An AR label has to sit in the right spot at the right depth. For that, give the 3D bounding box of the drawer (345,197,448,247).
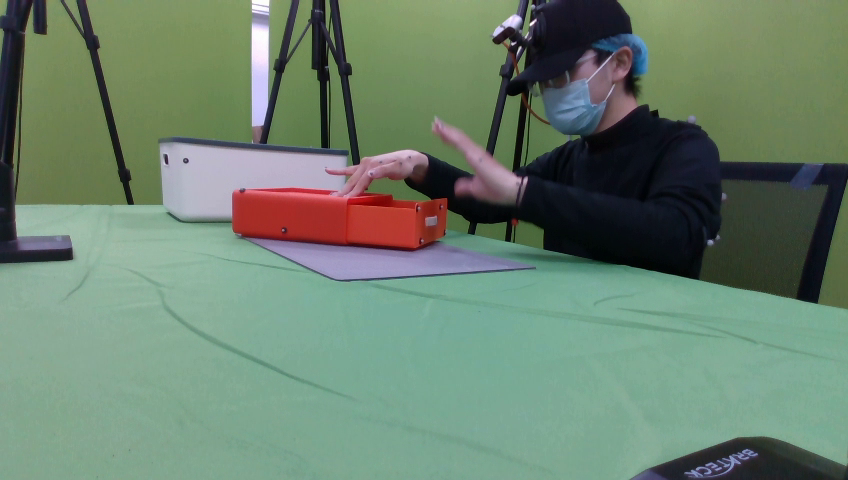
[{"bbox_3d":[-0.082,-0.040,1.030,0.211,0.073,0.195,4,8,16],"label":"drawer"}]

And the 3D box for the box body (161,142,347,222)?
[{"bbox_3d":[-0.380,-0.132,1.352,0.366,0.160,0.253,-2,9,-30],"label":"box body"}]

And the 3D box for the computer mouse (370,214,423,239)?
[{"bbox_3d":[-0.045,-0.024,1.022,0.062,0.041,0.117,2,2,15],"label":"computer mouse"}]

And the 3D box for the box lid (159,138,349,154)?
[{"bbox_3d":[-0.376,-0.206,1.344,0.373,0.015,0.262,-1,8,-30],"label":"box lid"}]

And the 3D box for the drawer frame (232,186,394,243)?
[{"bbox_3d":[-0.186,-0.049,1.059,0.213,0.082,0.202,4,8,17],"label":"drawer frame"}]
